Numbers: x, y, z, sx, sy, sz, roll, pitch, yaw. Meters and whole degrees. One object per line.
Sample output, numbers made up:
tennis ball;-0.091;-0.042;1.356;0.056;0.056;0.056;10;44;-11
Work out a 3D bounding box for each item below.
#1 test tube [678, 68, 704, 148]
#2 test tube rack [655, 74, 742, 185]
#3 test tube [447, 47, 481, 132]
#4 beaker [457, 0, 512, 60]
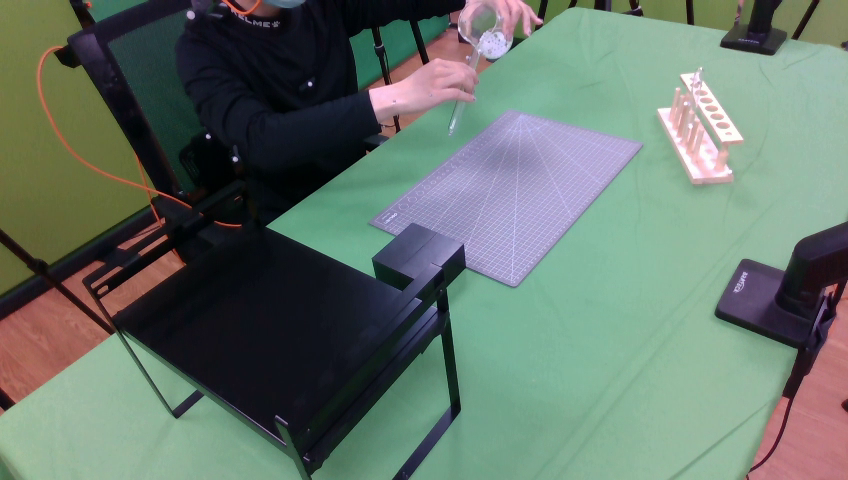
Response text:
test tube;0.465;-0.228;1.054;0.017;0.151;0.017;-4;41;4
test tube rack;0.488;-0.205;1.093;0.067;0.085;0.241;-3;41;5
test tube;0.069;-0.262;1.058;0.017;0.150;0.017;17;13;-4
beaker;0.112;-0.371;1.086;0.073;0.084;0.101;2;-3;26
